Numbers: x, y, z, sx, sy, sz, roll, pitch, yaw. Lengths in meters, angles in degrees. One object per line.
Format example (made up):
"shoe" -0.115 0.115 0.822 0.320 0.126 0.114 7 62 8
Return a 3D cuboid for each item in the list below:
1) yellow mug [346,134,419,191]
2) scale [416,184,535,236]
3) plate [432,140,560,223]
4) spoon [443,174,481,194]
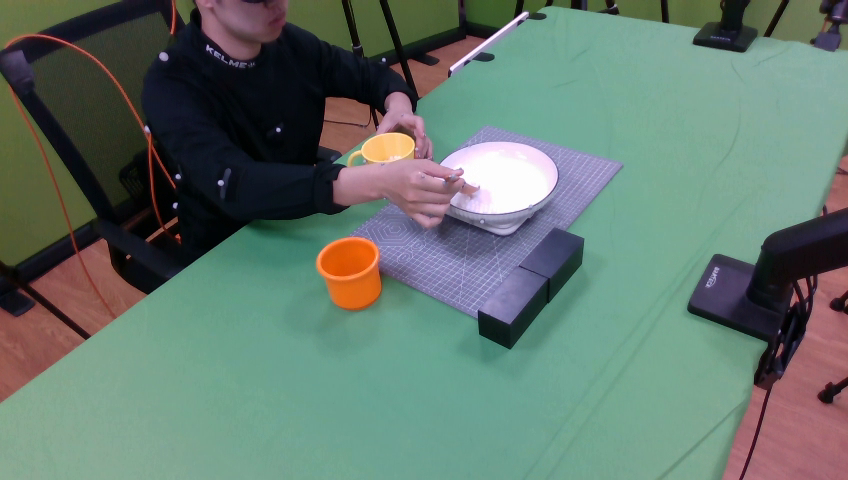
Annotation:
"yellow mug" -0.078 -0.142 1.115 0.131 0.064 0.099 -7 39 3
"scale" 0.099 -0.080 1.036 0.199 0.032 0.149 23 48 31
"plate" 0.118 -0.094 0.999 0.209 0.038 0.208 -5 41 4
"spoon" 0.052 -0.086 0.907 0.041 0.021 0.194 2 -3 15
